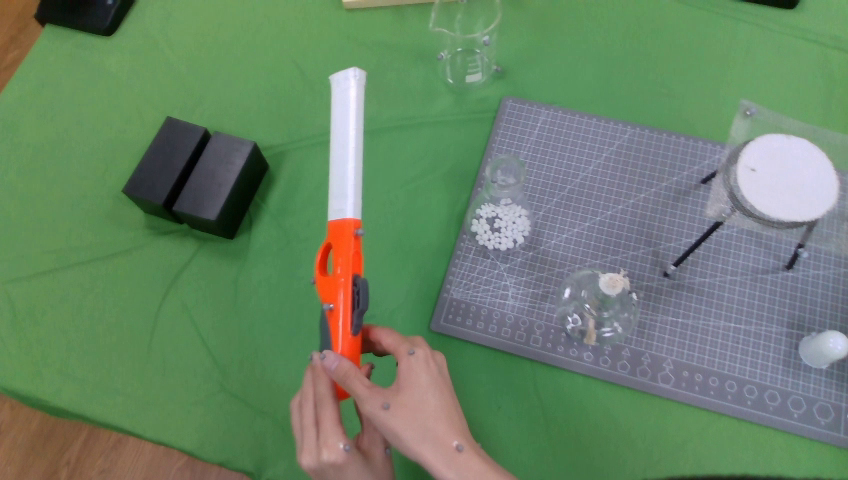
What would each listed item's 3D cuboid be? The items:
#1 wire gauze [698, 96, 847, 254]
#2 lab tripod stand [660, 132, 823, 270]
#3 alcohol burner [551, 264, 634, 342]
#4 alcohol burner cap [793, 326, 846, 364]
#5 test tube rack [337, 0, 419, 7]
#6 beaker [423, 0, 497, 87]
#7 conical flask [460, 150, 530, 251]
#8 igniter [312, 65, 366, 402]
[{"bbox_3d":[0.311,-0.058,0.520,0.121,0.011,0.124,21,71,9],"label":"wire gauze"},{"bbox_3d":[0.306,-0.030,0.582,0.148,0.132,0.147,0,67,1],"label":"lab tripod stand"},{"bbox_3d":[0.161,0.053,0.566,0.078,0.120,0.077,0,66,1],"label":"alcohol burner"},{"bbox_3d":[0.379,0.098,0.576,0.034,0.048,0.033,-1,68,4],"label":"alcohol burner cap"},{"bbox_3d":[0.006,-0.358,0.758,0.242,0.086,0.066,-4,68,1],"label":"test tube rack"},{"bbox_3d":[0.041,-0.232,0.698,0.084,0.101,0.073,-25,68,-7],"label":"beaker"},{"bbox_3d":[0.074,-0.043,0.605,0.075,0.123,0.075,-1,67,3],"label":"conical flask"},{"bbox_3d":[-0.069,-0.007,0.497,0.057,0.025,0.275,-4,81,38],"label":"igniter"}]
